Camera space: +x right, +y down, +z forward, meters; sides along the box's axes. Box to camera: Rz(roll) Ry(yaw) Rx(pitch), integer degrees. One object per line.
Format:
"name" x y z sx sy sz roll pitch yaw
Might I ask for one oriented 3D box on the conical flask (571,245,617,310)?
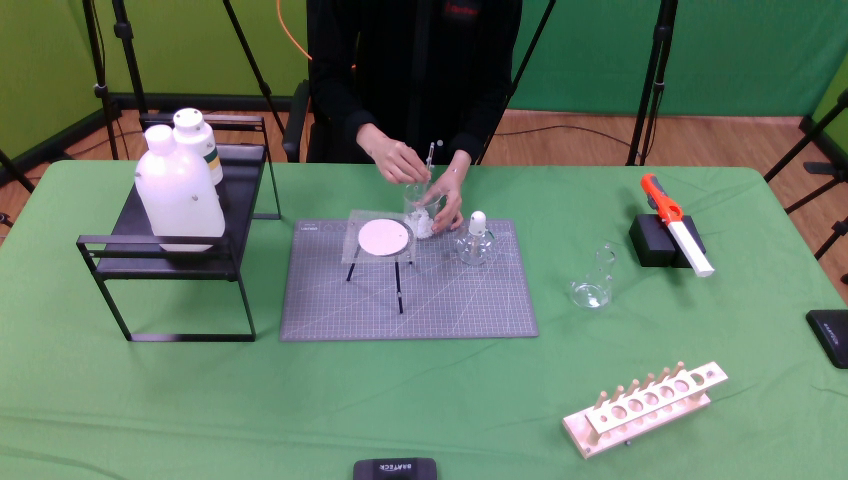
"conical flask" 0.313 0.064 1.089 0.075 0.122 0.075 2 46 -2

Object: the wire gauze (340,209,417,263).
"wire gauze" -0.074 -0.007 1.023 0.121 0.011 0.124 3 46 0

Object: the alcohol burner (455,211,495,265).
"alcohol burner" 0.097 -0.010 1.147 0.078 0.120 0.077 1 47 -1

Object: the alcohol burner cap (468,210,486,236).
"alcohol burner cap" 0.099 -0.034 1.119 0.034 0.048 0.033 0 53 0

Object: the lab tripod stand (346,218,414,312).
"lab tripod stand" -0.070 0.037 1.075 0.148 0.132 0.147 1 47 -1

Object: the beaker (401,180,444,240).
"beaker" -0.005 -0.057 1.194 0.084 0.101 0.073 -7 48 -11

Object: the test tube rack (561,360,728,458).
"test tube rack" 0.341 0.247 0.940 0.243 0.085 0.066 -15 49 -18

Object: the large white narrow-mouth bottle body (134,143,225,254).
"large white narrow-mouth bottle body" -0.358 -0.075 0.875 0.102 0.195 0.101 1 47 -1

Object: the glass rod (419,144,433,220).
"glass rod" 0.003 -0.105 1.153 0.008 0.200 0.008 4 50 -5

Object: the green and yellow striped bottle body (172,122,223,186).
"green and yellow striped bottle body" -0.373 -0.148 0.994 0.063 0.120 0.063 2 46 -2

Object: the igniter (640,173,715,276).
"igniter" 0.495 -0.039 1.204 0.057 0.025 0.274 -2 47 -12

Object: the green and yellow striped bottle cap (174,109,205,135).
"green and yellow striped bottle cap" -0.369 -0.186 0.954 0.045 0.020 0.045 3 50 -3

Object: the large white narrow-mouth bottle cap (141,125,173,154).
"large white narrow-mouth bottle cap" -0.356 -0.134 0.810 0.038 0.024 0.037 1 47 -1
